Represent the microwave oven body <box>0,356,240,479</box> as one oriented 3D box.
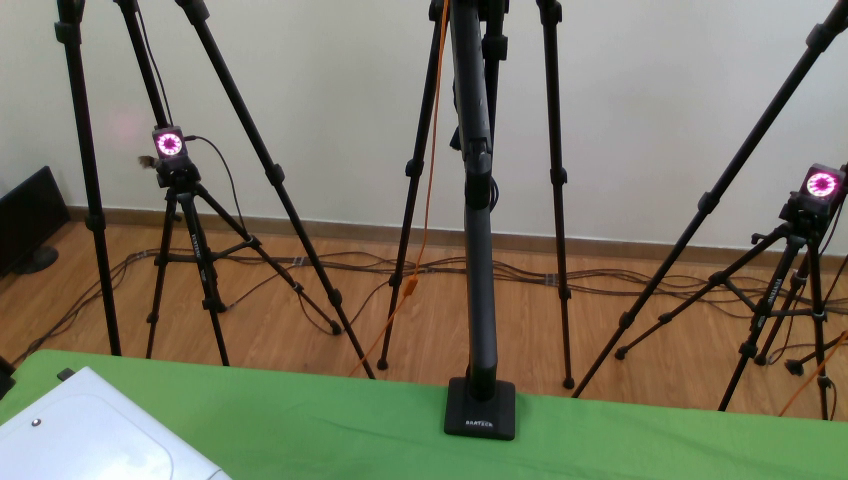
[{"bbox_3d":[-0.466,0.411,0.700,0.323,0.262,0.441,24,46,26],"label":"microwave oven body"}]
